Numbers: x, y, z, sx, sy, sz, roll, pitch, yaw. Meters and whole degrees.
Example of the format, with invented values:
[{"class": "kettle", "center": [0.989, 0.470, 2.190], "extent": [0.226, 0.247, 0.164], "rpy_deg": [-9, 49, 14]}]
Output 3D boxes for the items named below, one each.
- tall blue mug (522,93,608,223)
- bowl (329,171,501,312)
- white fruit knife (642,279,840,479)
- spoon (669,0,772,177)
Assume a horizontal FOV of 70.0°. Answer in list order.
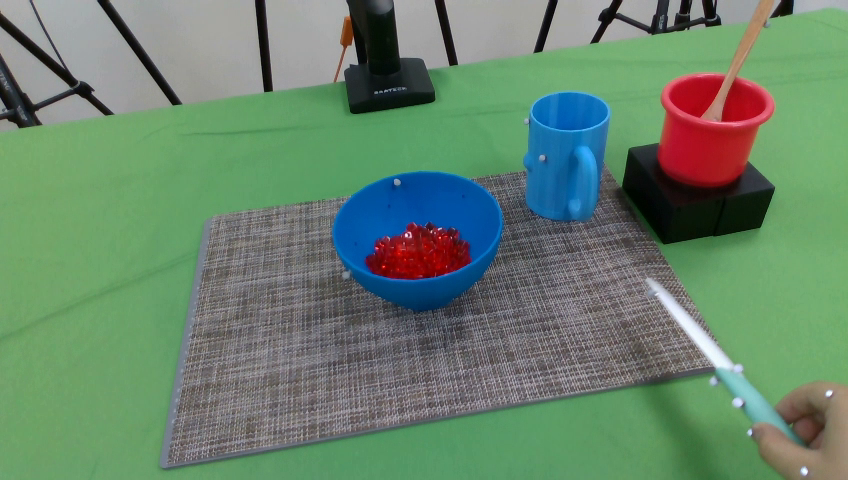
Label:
[{"class": "tall blue mug", "center": [0.151, -0.076, 0.610], "extent": [0.078, 0.109, 0.106], "rpy_deg": [-28, 46, -24]}, {"class": "bowl", "center": [-0.005, 0.013, 0.553], "extent": [0.151, 0.077, 0.150], "rpy_deg": [-3, 42, 3]}, {"class": "white fruit knife", "center": [0.213, 0.096, 0.420], "extent": [0.027, 0.016, 0.205], "rpy_deg": [6, 35, -30]}, {"class": "spoon", "center": [0.289, -0.149, 0.580], "extent": [0.041, 0.022, 0.194], "rpy_deg": [27, 95, 33]}]
